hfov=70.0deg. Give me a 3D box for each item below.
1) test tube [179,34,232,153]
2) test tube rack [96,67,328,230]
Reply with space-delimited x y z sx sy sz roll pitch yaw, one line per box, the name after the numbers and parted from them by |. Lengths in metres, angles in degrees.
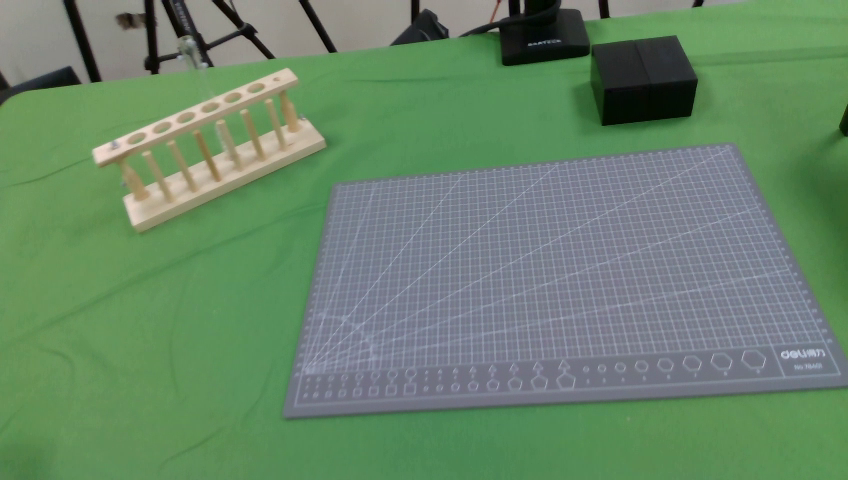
-0.249 -0.166 0.707 0.017 0.152 0.017 -5 42 5 | test tube
-0.247 -0.113 0.726 0.242 0.086 0.066 -28 48 -15 | test tube rack
